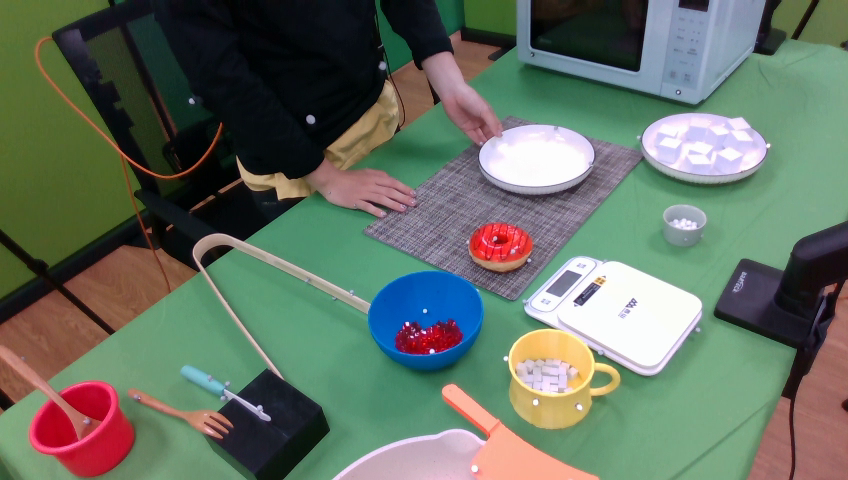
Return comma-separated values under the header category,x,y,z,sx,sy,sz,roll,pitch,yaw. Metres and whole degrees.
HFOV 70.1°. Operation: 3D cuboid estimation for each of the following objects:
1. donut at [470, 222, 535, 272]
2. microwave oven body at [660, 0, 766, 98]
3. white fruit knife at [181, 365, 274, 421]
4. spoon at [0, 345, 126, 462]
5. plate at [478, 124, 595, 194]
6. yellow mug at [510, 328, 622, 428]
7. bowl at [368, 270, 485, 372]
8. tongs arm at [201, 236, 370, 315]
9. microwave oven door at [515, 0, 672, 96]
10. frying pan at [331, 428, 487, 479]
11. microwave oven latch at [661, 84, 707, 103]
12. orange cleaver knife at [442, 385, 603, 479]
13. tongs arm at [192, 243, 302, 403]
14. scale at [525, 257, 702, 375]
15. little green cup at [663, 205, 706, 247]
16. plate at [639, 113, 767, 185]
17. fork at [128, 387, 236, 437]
category,x,y,z,sx,sy,sz,roll,pitch,yaw
donut,0.119,0.009,0.923,0.099,0.048,0.098,-4,38,3
microwave oven body,0.472,-0.513,1.317,0.438,0.261,0.327,26,51,34
white fruit knife,-0.245,0.187,0.747,0.205,0.027,0.016,9,41,40
spoon,-0.434,0.192,0.720,0.194,0.021,0.042,47,53,-7
plate,0.202,-0.142,1.093,0.209,0.038,0.208,-4,40,4
yellow mug,0.168,0.164,0.722,0.130,0.064,0.099,0,40,8
bowl,0.007,0.118,0.791,0.151,0.077,0.150,-5,40,4
tongs arm,-0.209,0.062,0.924,0.381,0.026,0.051,23,52,33
microwave oven door,0.343,-0.454,1.259,0.353,0.245,0.039,26,51,33
frying pan,-0.089,0.306,0.564,0.487,0.103,0.306,10,41,7
microwave oven latch,0.517,-0.296,1.204,0.078,0.029,0.030,27,52,35
orange cleaver knife,0.086,0.219,0.612,0.209,0.012,0.077,28,49,35
tongs arm,-0.268,0.108,0.882,0.028,0.028,0.384,-35,46,-19
scale,0.254,0.091,0.821,0.199,0.032,0.149,28,51,35
little green cup,0.396,-0.020,0.926,0.061,0.039,0.061,-4,40,4
plate,0.489,-0.157,1.074,0.207,0.039,0.206,-4,40,4
fork,-0.305,0.207,0.744,0.206,0.019,0.028,3,41,36
